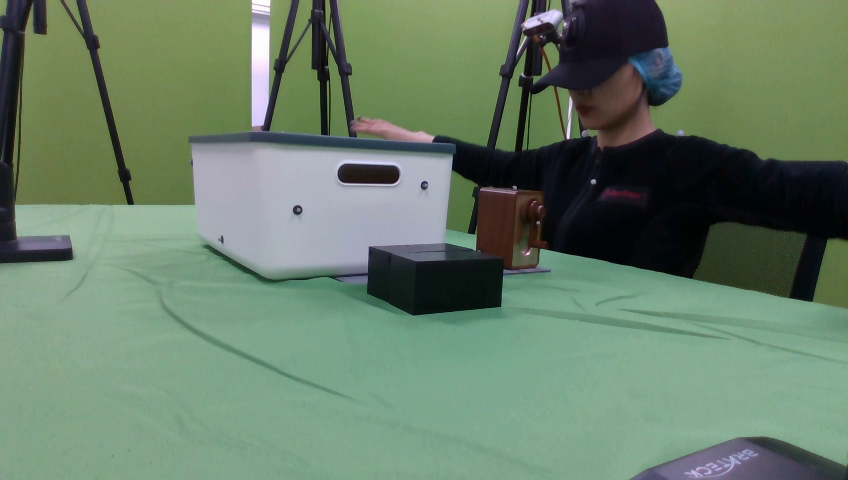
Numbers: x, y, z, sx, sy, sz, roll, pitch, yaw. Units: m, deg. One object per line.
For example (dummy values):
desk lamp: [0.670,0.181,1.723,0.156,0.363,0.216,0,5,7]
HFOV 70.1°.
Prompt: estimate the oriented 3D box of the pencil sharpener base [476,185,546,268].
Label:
pencil sharpener base: [0.120,-0.019,0.825,0.062,0.107,0.076,-3,10,-40]

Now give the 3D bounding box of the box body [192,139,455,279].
box body: [-0.157,-0.058,0.837,0.255,0.160,0.362,-2,8,-32]

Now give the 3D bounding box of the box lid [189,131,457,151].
box lid: [-0.153,-0.132,0.826,0.265,0.015,0.369,-3,9,-32]

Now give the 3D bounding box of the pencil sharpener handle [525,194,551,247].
pencil sharpener handle: [0.153,-0.025,0.784,0.036,0.067,0.030,0,7,-41]
